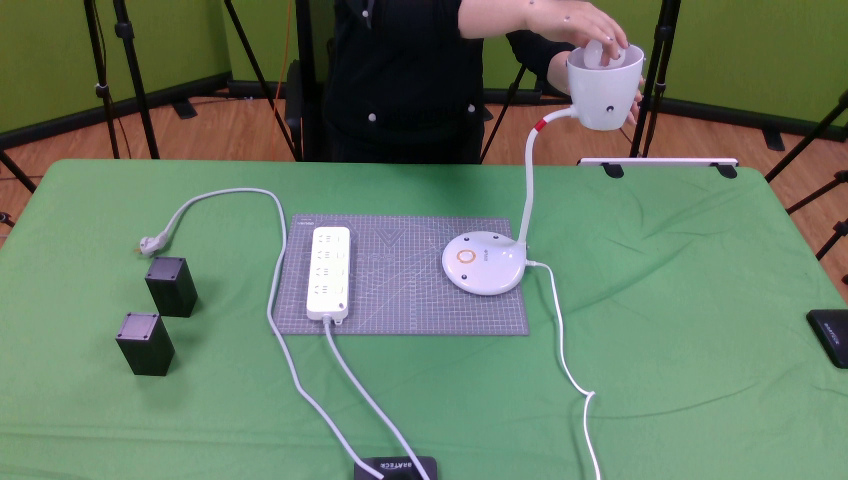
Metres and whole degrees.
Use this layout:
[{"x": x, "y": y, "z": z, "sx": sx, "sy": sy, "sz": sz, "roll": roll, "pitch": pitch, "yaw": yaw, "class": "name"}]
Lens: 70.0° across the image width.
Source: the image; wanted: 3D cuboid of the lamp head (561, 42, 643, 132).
[{"x": 0.270, "y": -0.229, "z": 0.934, "sx": 0.112, "sy": 0.123, "sz": 0.112, "roll": -2, "pitch": 37, "yaw": 2, "class": "lamp head"}]

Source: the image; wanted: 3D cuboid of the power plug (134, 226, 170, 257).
[{"x": -0.515, "y": 0.006, "z": 1.153, "sx": 0.052, "sy": 0.035, "sz": 0.072, "roll": -6, "pitch": 24, "yaw": 7, "class": "power plug"}]

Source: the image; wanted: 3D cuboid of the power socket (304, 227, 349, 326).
[{"x": -0.177, "y": 0.059, "z": 1.115, "sx": 0.072, "sy": 0.033, "sz": 0.225, "roll": -1, "pitch": 46, "yaw": -4, "class": "power socket"}]

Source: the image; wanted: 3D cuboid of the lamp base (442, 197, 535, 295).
[{"x": 0.130, "y": -0.012, "z": 1.105, "sx": 0.179, "sy": 0.181, "sz": 0.159, "roll": -1, "pitch": 46, "yaw": -9, "class": "lamp base"}]

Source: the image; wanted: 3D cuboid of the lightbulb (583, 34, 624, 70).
[{"x": 0.272, "y": -0.257, "z": 0.919, "sx": 0.059, "sy": 0.108, "sz": 0.059, "roll": -9, "pitch": 32, "yaw": 6, "class": "lightbulb"}]
